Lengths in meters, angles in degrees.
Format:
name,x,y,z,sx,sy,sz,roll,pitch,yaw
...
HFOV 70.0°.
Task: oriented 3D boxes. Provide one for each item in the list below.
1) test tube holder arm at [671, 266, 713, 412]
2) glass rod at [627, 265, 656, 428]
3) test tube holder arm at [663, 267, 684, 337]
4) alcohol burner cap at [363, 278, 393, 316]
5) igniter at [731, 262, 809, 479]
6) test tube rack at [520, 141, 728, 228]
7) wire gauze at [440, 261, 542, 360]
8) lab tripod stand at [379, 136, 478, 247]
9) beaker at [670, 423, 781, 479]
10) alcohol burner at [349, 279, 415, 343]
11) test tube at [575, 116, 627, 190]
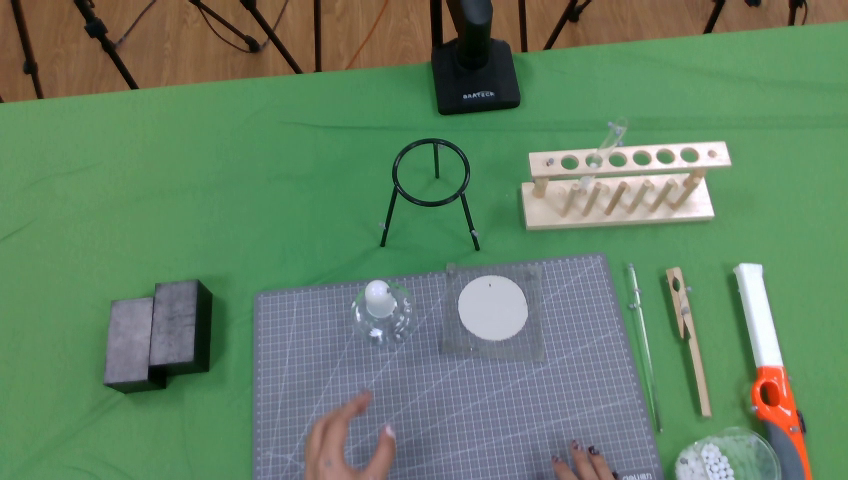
name,x,y,z,sx,sy,sz,roll,pitch,yaw
test tube holder arm,0.318,0.115,0.724,0.013,0.015,0.177,-21,61,31
glass rod,0.261,0.123,0.728,0.008,0.008,0.198,-1,68,0
test tube holder arm,0.310,0.076,0.745,0.010,0.015,0.087,-20,62,31
alcohol burner cap,-0.052,0.060,0.662,0.034,0.048,0.033,0,59,1
igniter,0.398,0.155,0.701,0.057,0.025,0.274,5,65,-8
test tube rack,0.251,-0.069,0.773,0.242,0.086,0.066,-3,65,0
wire gauze,0.084,0.083,0.747,0.125,0.011,0.120,4,67,2
lab tripod stand,0.006,-0.051,0.743,0.148,0.132,0.147,0,67,1
beaker,0.303,0.234,0.628,0.083,0.101,0.073,23,67,12
alcohol burner,-0.050,0.076,0.694,0.078,0.120,0.077,-1,66,3
test tube,0.211,-0.101,0.733,0.017,0.151,0.017,2,67,-4
